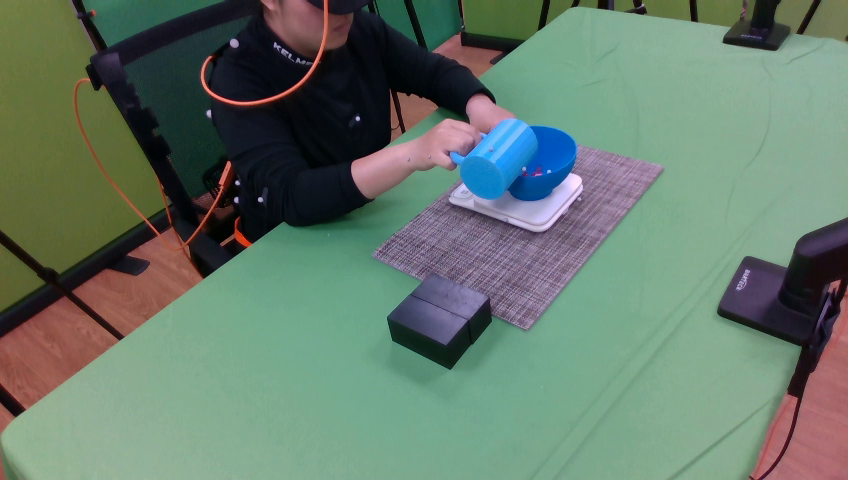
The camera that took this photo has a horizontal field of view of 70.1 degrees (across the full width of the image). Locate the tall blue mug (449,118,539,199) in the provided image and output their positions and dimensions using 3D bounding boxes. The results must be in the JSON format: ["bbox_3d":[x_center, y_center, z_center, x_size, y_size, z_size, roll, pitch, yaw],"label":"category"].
[{"bbox_3d":[0.099,-0.130,0.892,0.107,0.077,0.108,39,53,3],"label":"tall blue mug"}]

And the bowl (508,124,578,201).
[{"bbox_3d":[0.176,-0.117,0.991,0.151,0.077,0.150,-6,41,5],"label":"bowl"}]

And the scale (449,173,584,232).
[{"bbox_3d":[0.156,-0.085,1.040,0.199,0.032,0.149,22,49,33],"label":"scale"}]
